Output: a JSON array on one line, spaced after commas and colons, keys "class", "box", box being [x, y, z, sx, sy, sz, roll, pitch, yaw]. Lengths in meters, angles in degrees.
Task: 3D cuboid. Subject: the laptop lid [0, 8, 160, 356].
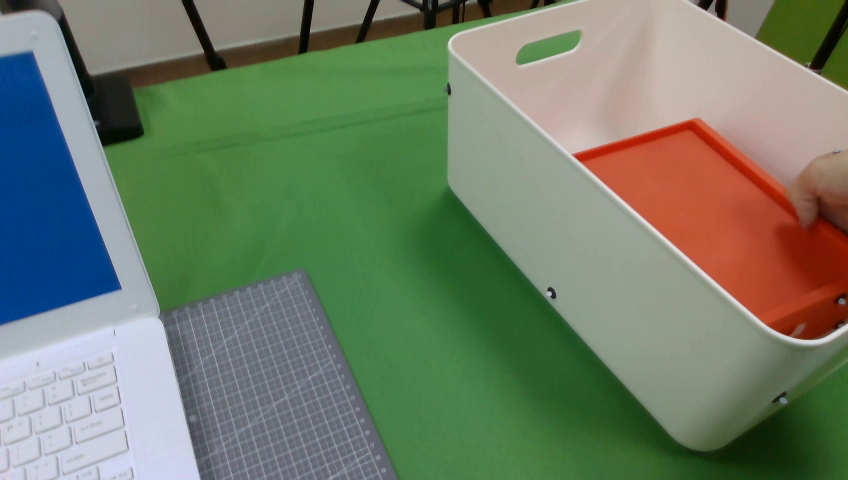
[{"class": "laptop lid", "box": [-0.388, 0.000, 0.388, 0.357, 0.243, 0.013, -19, 21, -18]}]

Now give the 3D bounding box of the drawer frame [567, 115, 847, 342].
[{"class": "drawer frame", "box": [0.213, 0.005, 0.508, 0.202, 0.083, 0.211, -19, 50, -17]}]

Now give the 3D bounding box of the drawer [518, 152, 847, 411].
[{"class": "drawer", "box": [0.216, 0.018, 0.517, 0.195, 0.074, 0.209, -17, 43, -19]}]

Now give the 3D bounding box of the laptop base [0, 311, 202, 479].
[{"class": "laptop base", "box": [-0.317, 0.186, 0.359, 0.355, 0.023, 0.233, -18, 54, -19]}]

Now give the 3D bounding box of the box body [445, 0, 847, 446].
[{"class": "box body", "box": [0.204, -0.045, 0.509, 0.254, 0.162, 0.360, -22, 52, -22]}]

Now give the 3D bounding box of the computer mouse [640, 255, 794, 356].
[{"class": "computer mouse", "box": [0.241, 0.051, 0.499, 0.117, 0.041, 0.062, -16, 54, -8]}]
